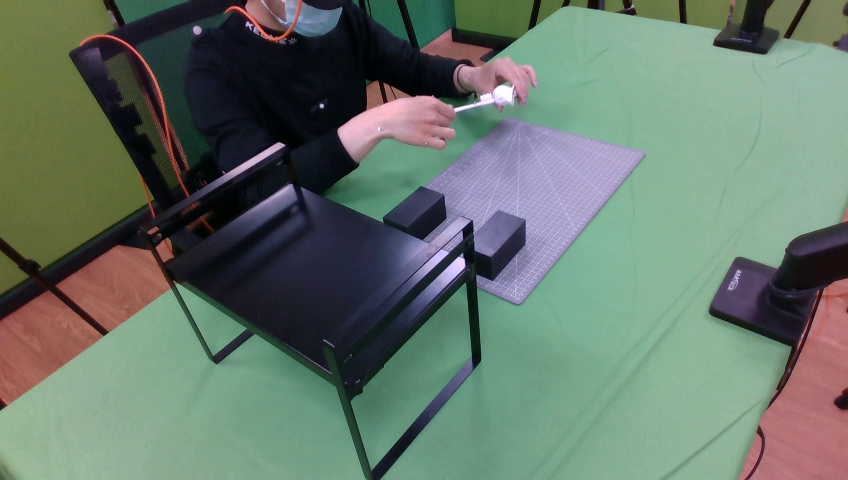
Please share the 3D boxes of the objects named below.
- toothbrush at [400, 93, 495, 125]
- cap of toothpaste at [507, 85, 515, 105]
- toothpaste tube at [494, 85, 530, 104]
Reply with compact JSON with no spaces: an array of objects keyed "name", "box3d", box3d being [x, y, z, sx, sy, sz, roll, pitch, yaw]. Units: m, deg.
[{"name":"toothbrush","box3d":[0.039,-0.233,1.082,0.181,0.017,0.014,-11,30,21]},{"name":"cap of toothpaste","box3d":[0.153,-0.255,1.063,0.011,0.037,0.037,5,42,11]},{"name":"toothpaste tube","box3d":[0.165,-0.280,1.150,0.055,0.034,0.165,-16,9,22]}]
